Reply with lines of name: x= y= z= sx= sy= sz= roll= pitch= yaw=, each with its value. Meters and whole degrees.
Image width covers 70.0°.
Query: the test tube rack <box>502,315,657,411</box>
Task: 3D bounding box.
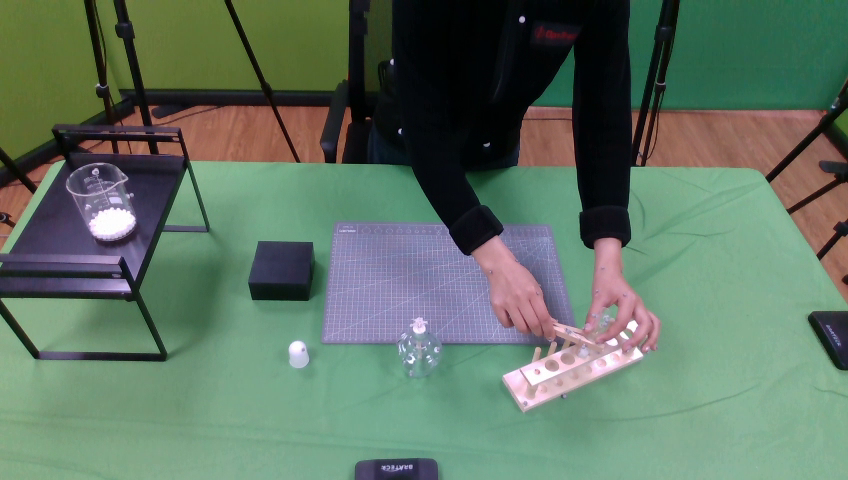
test tube rack: x=0.253 y=0.187 z=0.988 sx=0.242 sy=0.085 sz=0.066 roll=-18 pitch=50 yaw=-20

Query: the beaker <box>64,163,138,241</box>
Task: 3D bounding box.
beaker: x=-0.477 y=-0.054 z=0.910 sx=0.084 sy=0.101 sz=0.073 roll=-9 pitch=48 yaw=-13

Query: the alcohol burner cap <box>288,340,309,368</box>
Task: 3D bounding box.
alcohol burner cap: x=-0.206 y=0.183 z=0.991 sx=0.034 sy=0.048 sz=0.033 roll=3 pitch=47 yaw=-3

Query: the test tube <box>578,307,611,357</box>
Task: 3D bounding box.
test tube: x=0.252 y=0.147 z=0.912 sx=0.017 sy=0.151 sz=0.017 roll=2 pitch=50 yaw=-3

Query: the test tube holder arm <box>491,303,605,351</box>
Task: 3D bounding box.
test tube holder arm: x=0.187 y=0.132 z=0.925 sx=0.178 sy=0.015 sz=0.013 roll=18 pitch=41 yaw=13

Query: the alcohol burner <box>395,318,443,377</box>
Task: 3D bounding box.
alcohol burner: x=-0.008 y=0.167 z=0.971 sx=0.078 sy=0.120 sz=0.077 roll=1 pitch=46 yaw=0

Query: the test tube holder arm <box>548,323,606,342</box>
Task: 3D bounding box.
test tube holder arm: x=0.231 y=0.140 z=0.922 sx=0.088 sy=0.015 sz=0.010 roll=9 pitch=41 yaw=3
